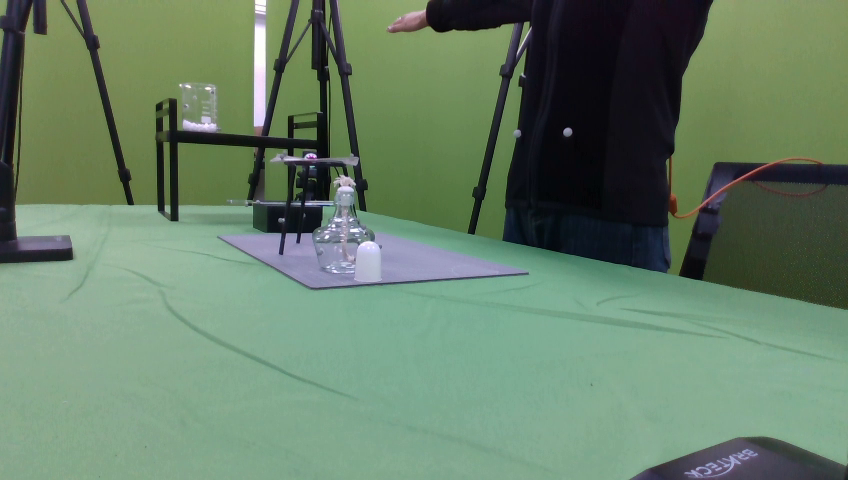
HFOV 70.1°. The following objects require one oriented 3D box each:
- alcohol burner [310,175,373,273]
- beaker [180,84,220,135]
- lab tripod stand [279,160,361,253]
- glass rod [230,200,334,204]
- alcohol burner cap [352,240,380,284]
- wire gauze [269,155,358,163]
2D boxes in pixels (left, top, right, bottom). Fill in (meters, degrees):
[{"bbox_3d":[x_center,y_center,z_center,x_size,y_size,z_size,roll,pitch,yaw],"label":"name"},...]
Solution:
[{"bbox_3d":[-0.100,-0.020,0.740,0.078,0.119,0.078,1,6,0],"label":"alcohol burner"},{"bbox_3d":[-0.475,-0.275,1.281,0.073,0.100,0.084,7,9,36],"label":"beaker"},{"bbox_3d":[-0.166,-0.052,0.897,0.148,0.131,0.148,0,7,0],"label":"lab tripod stand"},{"bbox_3d":[-0.267,-0.072,1.155,0.201,0.008,0.008,-1,8,-28],"label":"glass rod"},{"bbox_3d":[-0.065,0.023,0.690,0.034,0.048,0.034,3,10,0],"label":"alcohol burner cap"},{"bbox_3d":[-0.159,-0.118,0.886,0.122,0.011,0.125,1,7,-9],"label":"wire gauze"}]
